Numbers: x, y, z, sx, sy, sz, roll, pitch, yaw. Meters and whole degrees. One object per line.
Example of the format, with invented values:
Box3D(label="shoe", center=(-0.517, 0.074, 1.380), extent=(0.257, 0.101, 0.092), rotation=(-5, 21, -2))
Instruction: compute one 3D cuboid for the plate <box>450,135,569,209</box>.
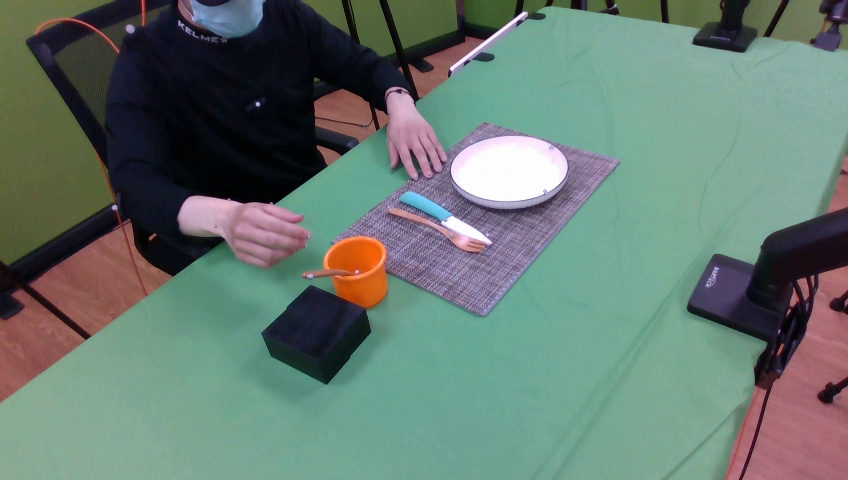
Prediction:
Box3D(label="plate", center=(0.149, -0.117, 1.066), extent=(0.209, 0.038, 0.208), rotation=(-4, 41, 4))

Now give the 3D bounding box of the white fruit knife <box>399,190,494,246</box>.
Box3D(label="white fruit knife", center=(0.036, -0.038, 1.009), extent=(0.205, 0.016, 0.027), rotation=(32, 85, 34))

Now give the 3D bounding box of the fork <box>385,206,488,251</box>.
Box3D(label="fork", center=(0.015, -0.021, 0.988), extent=(0.206, 0.019, 0.028), rotation=(24, 62, 30))

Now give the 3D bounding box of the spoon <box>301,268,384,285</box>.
Box3D(label="spoon", center=(-0.111, 0.048, 0.831), extent=(0.041, 0.195, 0.021), rotation=(17, 90, 24))
